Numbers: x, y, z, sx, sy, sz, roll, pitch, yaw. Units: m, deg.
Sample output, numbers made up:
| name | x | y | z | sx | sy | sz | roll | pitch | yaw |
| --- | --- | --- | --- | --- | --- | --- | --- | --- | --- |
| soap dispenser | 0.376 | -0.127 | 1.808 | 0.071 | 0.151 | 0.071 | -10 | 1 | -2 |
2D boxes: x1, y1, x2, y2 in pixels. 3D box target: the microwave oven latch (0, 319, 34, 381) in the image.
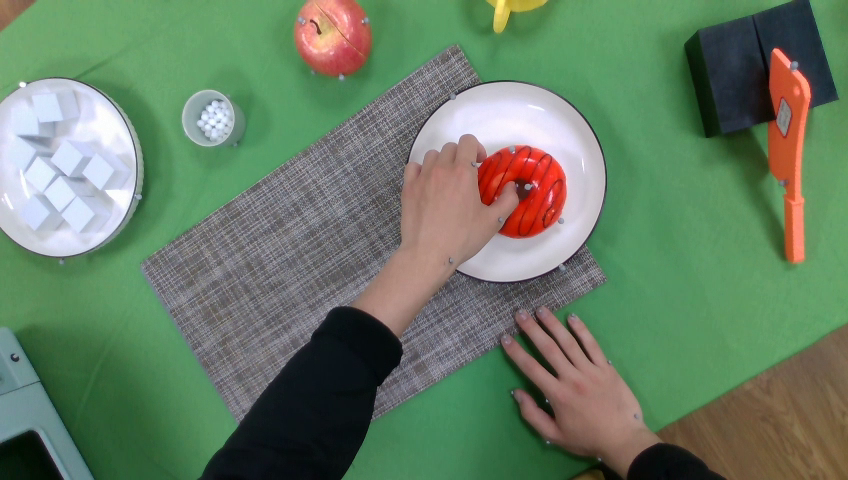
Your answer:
| name | x | y | z | sx | sy | sz | roll | pitch | yaw |
| --- | --- | --- | --- | --- | --- | --- | --- | --- | --- |
| microwave oven latch | -0.502 | 0.133 | 0.722 | 0.030 | 0.029 | 0.079 | -28 | 91 | 9 |

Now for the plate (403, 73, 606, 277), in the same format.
| name | x | y | z | sx | sy | sz | roll | pitch | yaw |
| --- | --- | --- | --- | --- | --- | --- | --- | --- | --- |
| plate | 0.082 | -0.067 | 0.635 | 0.209 | 0.038 | 0.209 | 1 | 95 | 8 |

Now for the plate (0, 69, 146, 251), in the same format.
| name | x | y | z | sx | sy | sz | roll | pitch | yaw |
| --- | --- | --- | --- | --- | --- | --- | --- | --- | --- |
| plate | -0.418 | -0.092 | 0.711 | 0.207 | 0.039 | 0.208 | 1 | 95 | 9 |

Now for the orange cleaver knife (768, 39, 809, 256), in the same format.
| name | x | y | z | sx | sy | sz | roll | pitch | yaw |
| --- | --- | --- | --- | --- | --- | --- | --- | --- | --- |
| orange cleaver knife | 0.344 | -0.082 | 0.577 | 0.012 | 0.076 | 0.213 | -12 | 122 | 13 |

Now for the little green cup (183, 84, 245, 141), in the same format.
| name | x | y | z | sx | sy | sz | roll | pitch | yaw |
| --- | --- | --- | --- | --- | --- | --- | --- | --- | --- |
| little green cup | -0.233 | -0.140 | 0.680 | 0.061 | 0.038 | 0.061 | 1 | 94 | 9 |

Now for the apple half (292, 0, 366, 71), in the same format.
| name | x | y | z | sx | sy | sz | roll | pitch | yaw |
| --- | --- | --- | --- | --- | --- | --- | --- | --- | --- |
| apple half | -0.105 | -0.210 | 0.638 | 0.053 | 0.074 | 0.081 | -41 | 91 | 14 |

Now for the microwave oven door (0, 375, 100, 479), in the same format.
| name | x | y | z | sx | sy | sz | roll | pitch | yaw |
| --- | --- | --- | --- | --- | --- | --- | --- | --- | --- |
| microwave oven door | -0.410 | 0.332 | 0.622 | 0.039 | 0.244 | 0.355 | -30 | 89 | 9 |

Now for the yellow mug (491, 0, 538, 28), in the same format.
| name | x | y | z | sx | sy | sz | roll | pitch | yaw |
| --- | --- | --- | --- | --- | --- | --- | --- | --- | --- |
| yellow mug | 0.089 | -0.279 | 0.607 | 0.100 | 0.064 | 0.131 | 16 | 97 | 7 |

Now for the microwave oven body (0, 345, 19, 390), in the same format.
| name | x | y | z | sx | sy | sz | roll | pitch | yaw |
| --- | --- | --- | --- | --- | --- | --- | --- | --- | --- |
| microwave oven body | -0.555 | 0.365 | 0.651 | 0.326 | 0.260 | 0.441 | -30 | 90 | 9 |

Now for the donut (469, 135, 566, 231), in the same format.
| name | x | y | z | sx | sy | sz | roll | pitch | yaw |
| --- | --- | --- | --- | --- | --- | --- | --- | --- | --- |
| donut | 0.095 | -0.058 | 0.622 | 0.099 | 0.048 | 0.099 | 1 | 96 | 10 |

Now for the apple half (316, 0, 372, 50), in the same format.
| name | x | y | z | sx | sy | sz | roll | pitch | yaw |
| --- | --- | --- | --- | --- | --- | --- | --- | --- | --- |
| apple half | -0.077 | -0.236 | 0.631 | 0.033 | 0.081 | 0.081 | -41 | 87 | 14 |
